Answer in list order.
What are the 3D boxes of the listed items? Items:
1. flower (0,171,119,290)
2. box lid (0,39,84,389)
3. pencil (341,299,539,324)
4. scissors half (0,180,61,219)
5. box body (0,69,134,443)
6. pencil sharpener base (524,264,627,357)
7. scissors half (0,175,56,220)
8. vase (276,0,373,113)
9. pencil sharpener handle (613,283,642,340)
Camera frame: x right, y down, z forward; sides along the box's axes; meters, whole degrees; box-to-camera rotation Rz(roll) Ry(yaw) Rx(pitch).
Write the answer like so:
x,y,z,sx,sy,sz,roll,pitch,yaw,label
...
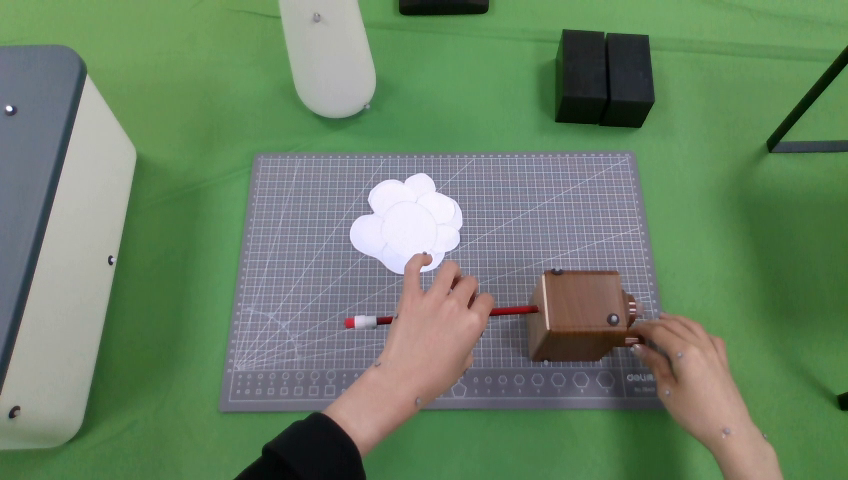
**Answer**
x,y,z,sx,sy,sz,roll,pitch,yaw,label
-0.450,0.038,0.658,0.038,0.044,0.359,-7,40,32,flower
-0.452,-0.026,0.511,0.263,0.015,0.368,-1,66,-2,box lid
0.022,0.063,0.549,0.194,0.012,0.012,-4,65,-4,pencil
-0.491,-0.025,0.661,0.175,0.040,0.012,-26,36,-13,scissors half
-0.452,0.008,0.579,0.254,0.161,0.361,-2,66,-1,box body
0.142,0.070,0.578,0.077,0.108,0.061,-1,65,0,pencil sharpener base
-0.486,-0.014,0.669,0.175,0.040,0.012,-33,31,-6,scissors half
-0.113,-0.231,0.667,0.098,0.201,0.097,-1,64,1,vase
0.193,0.069,0.564,0.030,0.068,0.035,-1,41,0,pencil sharpener handle
